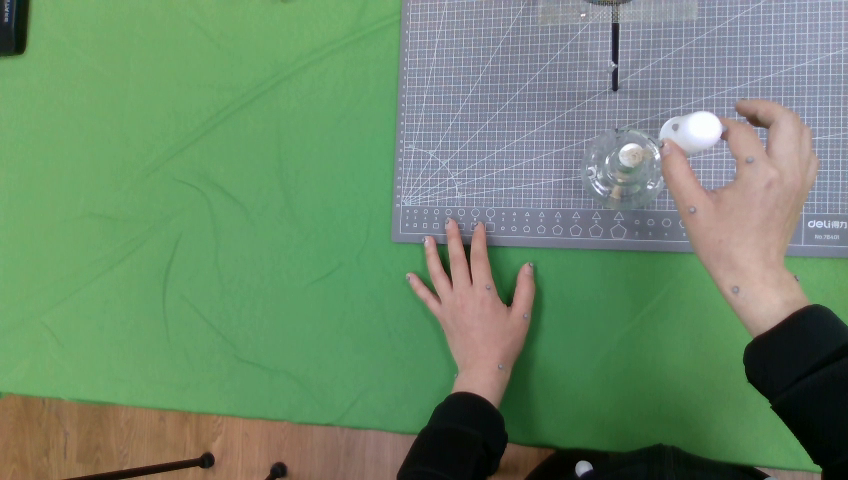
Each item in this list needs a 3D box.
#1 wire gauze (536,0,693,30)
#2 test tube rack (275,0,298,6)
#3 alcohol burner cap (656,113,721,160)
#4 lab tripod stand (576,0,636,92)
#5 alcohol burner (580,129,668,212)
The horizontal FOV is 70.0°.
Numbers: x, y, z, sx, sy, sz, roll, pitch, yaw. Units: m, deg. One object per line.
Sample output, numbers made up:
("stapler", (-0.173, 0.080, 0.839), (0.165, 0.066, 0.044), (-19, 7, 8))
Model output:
("wire gauze", (0.153, -0.230, 0.488), (0.125, 0.011, 0.121), (1, 90, 11))
("test tube rack", (-0.072, -0.339, 0.645), (0.242, 0.085, 0.066), (-16, 83, 12))
("alcohol burner cap", (0.198, -0.078, 0.447), (0.034, 0.048, 0.034), (0, 90, -6))
("lab tripod stand", (0.168, -0.225, 0.552), (0.148, 0.132, 0.148), (-1, 87, 12))
("alcohol burner", (0.182, -0.066, 0.550), (0.078, 0.119, 0.078), (-1, 86, 12))
